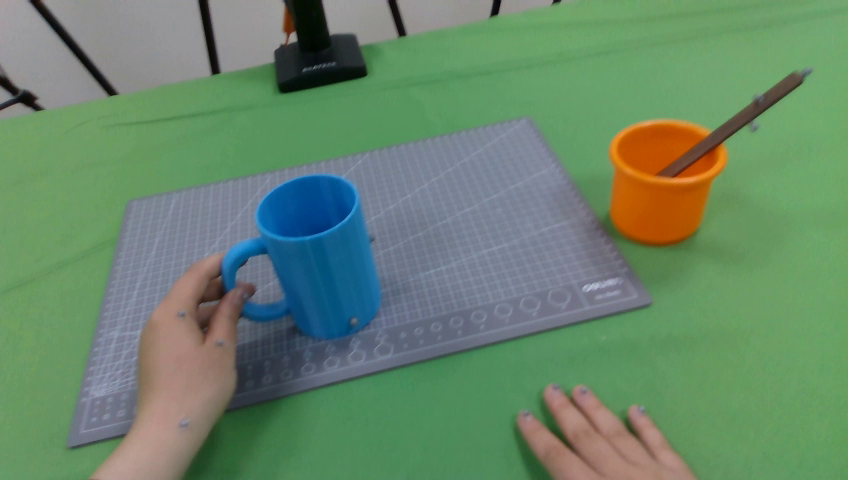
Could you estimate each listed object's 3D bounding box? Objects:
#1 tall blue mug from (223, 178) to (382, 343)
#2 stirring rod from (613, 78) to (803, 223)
[{"bbox_3d":[-0.088,0.026,0.465,0.077,0.109,0.107,25,51,30],"label":"tall blue mug"},{"bbox_3d":[0.230,-0.070,0.505,0.176,0.006,0.014,-42,36,28],"label":"stirring rod"}]
